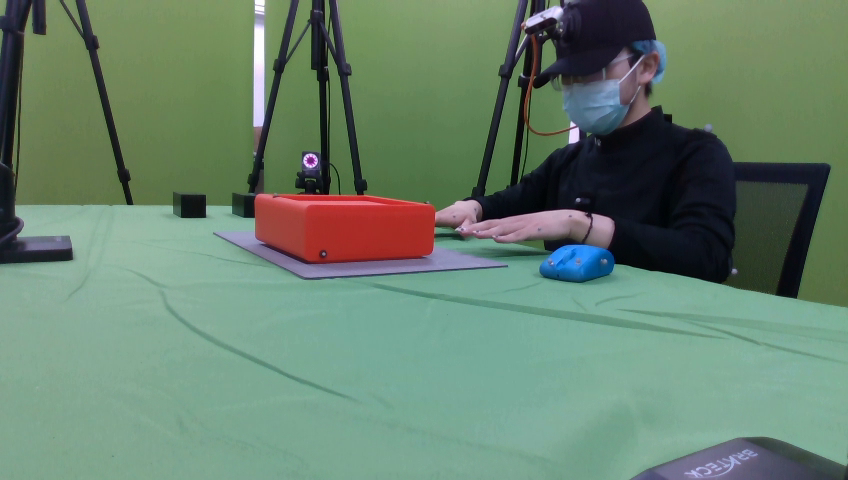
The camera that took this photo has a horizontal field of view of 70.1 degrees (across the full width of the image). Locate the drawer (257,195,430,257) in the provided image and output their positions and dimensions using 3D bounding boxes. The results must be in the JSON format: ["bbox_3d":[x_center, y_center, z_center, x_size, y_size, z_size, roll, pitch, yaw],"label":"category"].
[{"bbox_3d":[-0.125,-0.025,0.907,0.195,0.073,0.210,-1,9,-32],"label":"drawer"}]

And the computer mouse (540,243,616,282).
[{"bbox_3d":[0.204,0.028,0.797,0.062,0.041,0.118,11,15,38],"label":"computer mouse"}]

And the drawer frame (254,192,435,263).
[{"bbox_3d":[-0.124,-0.026,0.904,0.203,0.082,0.212,-2,9,-33],"label":"drawer frame"}]
